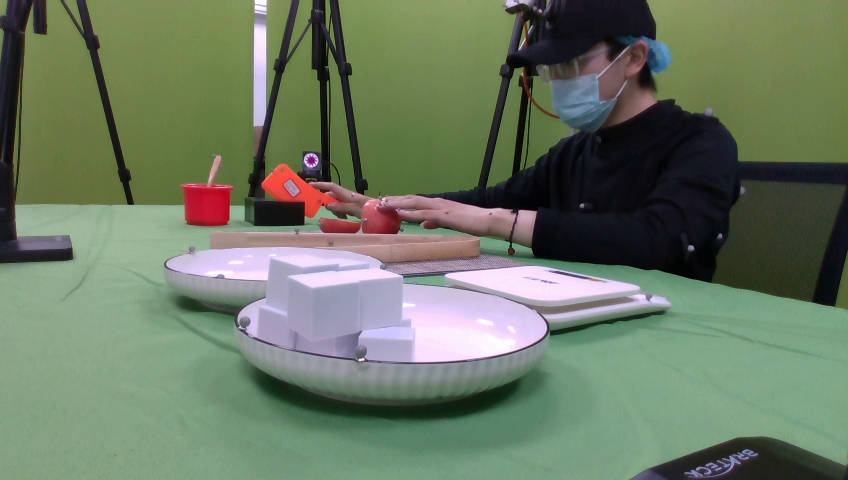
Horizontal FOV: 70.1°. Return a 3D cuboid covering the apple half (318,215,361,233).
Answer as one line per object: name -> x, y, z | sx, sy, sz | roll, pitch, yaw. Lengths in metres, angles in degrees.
apple half -> -0.147, -0.018, 1.035 | 0.081, 0.033, 0.081 | 10, -6, 1

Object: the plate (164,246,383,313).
plate -> -0.145, 0.038, 0.600 | 0.209, 0.038, 0.209 | 2, 7, 0

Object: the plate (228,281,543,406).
plate -> -0.025, 0.067, 0.413 | 0.208, 0.039, 0.207 | 3, 7, 0

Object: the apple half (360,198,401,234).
apple half -> -0.066, -0.032, 1.014 | 0.053, 0.074, 0.081 | 9, 6, 20

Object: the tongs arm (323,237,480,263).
tongs arm -> -0.070, 0.017, 0.801 | 0.390, 0.028, 0.028 | -2, 5, -34

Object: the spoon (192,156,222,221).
spoon -> -0.430, -0.108, 1.222 | 0.041, 0.021, 0.193 | -1, 52, 0

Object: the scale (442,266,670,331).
scale -> 0.131, 0.052, 0.603 | 0.202, 0.031, 0.148 | -2, 9, -37

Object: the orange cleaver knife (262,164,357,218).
orange cleaver knife -> -0.242, -0.088, 1.294 | 0.212, 0.077, 0.012 | 29, -8, -27

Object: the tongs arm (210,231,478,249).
tongs arm -> -0.106, 0.004, 0.876 | 0.386, 0.026, 0.050 | 0, 7, -20
